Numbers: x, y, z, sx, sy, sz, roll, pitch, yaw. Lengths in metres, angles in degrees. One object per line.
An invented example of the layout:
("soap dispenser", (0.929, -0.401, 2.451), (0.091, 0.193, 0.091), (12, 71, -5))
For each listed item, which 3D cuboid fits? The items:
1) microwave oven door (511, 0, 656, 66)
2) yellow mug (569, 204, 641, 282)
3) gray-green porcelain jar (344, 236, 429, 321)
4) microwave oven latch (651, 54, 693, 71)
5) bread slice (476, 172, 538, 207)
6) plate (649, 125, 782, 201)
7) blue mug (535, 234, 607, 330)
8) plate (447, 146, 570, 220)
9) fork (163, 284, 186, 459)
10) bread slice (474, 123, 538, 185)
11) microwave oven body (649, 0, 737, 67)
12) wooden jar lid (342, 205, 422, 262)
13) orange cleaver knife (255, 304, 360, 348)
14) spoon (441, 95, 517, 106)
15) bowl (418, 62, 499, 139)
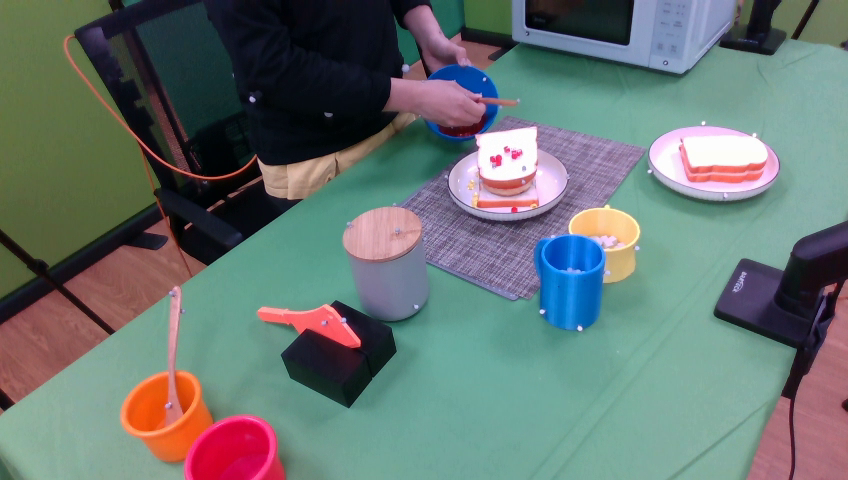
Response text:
("microwave oven door", (0.351, -0.539, 1.349), (0.353, 0.245, 0.039), (24, 50, 31))
("yellow mug", (0.268, -0.005, 0.904), (0.099, 0.064, 0.130), (7, 41, 15))
("gray-green porcelain jar", (-0.049, 0.042, 0.849), (0.106, 0.127, 0.105), (-4, 41, 4))
("microwave oven latch", (0.532, -0.386, 1.301), (0.078, 0.029, 0.030), (26, 51, 33))
("bread slice", (0.144, -0.103, 1.059), (0.105, 0.019, 0.131), (0, 44, 6))
("plate", (0.493, -0.128, 1.036), (0.207, 0.039, 0.206), (-4, 41, 4))
("blue mug", (0.191, 0.048, 0.824), (0.082, 0.106, 0.115), (-26, 44, -21))
("plate", (0.145, -0.098, 1.046), (0.209, 0.038, 0.208), (-4, 41, 4))
("fork", (-0.302, 0.157, 0.733), (0.028, 0.019, 0.207), (-4, 84, 16))
("bread slice", (0.141, -0.144, 1.008), (0.107, 0.018, 0.133), (-8, 47, 9))
("microwave oven body", (0.475, -0.602, 1.411), (0.438, 0.261, 0.327), (23, 50, 32))
("wooden jar lid", (-0.055, -0.006, 0.808), (0.108, 0.021, 0.108), (-6, 40, 6))
("orange cleaver knife", (-0.161, 0.115, 0.813), (0.210, 0.077, 0.012), (-5, 32, 47))
("spoon", (0.098, -0.254, 1.096), (0.042, 0.022, 0.192), (-24, 23, -30))
("bowl", (0.064, -0.253, 1.152), (0.151, 0.077, 0.151), (0, 78, 0))
